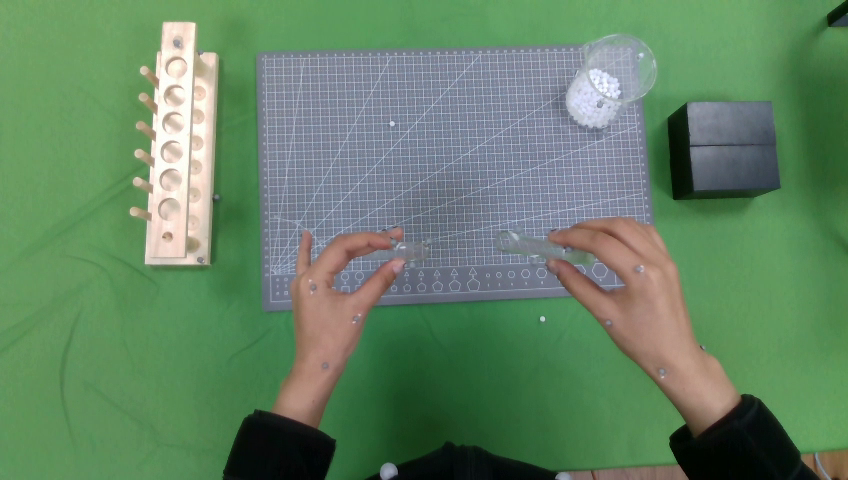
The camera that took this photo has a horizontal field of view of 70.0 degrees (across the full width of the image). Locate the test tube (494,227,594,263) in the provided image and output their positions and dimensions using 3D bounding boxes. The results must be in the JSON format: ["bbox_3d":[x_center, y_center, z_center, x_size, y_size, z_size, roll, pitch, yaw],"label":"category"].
[{"bbox_3d":[0.102,0.006,0.488,0.017,0.151,0.017,-5,81,38],"label":"test tube"}]

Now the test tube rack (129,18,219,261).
[{"bbox_3d":[-0.268,-0.102,0.643,0.067,0.085,0.241,1,83,-3],"label":"test tube rack"}]

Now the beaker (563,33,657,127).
[{"bbox_3d":[0.197,-0.173,0.669,0.084,0.100,0.074,35,82,3],"label":"beaker"}]

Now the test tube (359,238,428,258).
[{"bbox_3d":[-0.032,0.007,0.546,0.017,0.149,0.017,0,89,-23],"label":"test tube"}]
